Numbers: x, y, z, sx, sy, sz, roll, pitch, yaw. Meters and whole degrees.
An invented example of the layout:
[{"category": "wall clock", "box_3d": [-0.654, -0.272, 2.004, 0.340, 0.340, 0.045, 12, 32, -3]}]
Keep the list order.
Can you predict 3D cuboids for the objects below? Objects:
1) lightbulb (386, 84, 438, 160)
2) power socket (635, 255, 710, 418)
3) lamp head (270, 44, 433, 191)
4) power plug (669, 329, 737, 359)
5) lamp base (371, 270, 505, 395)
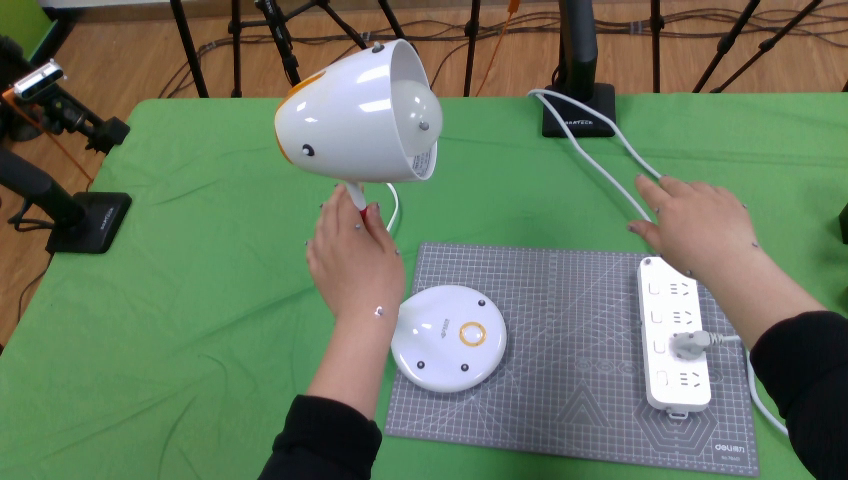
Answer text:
[{"category": "lightbulb", "box_3d": [-0.041, -0.093, 0.490, 0.107, 0.060, 0.059, 0, 56, 20]}, {"category": "power socket", "box_3d": [0.320, 0.117, 0.791, 0.072, 0.033, 0.225, 1, 57, 10]}, {"category": "lamp head", "box_3d": [-0.061, -0.091, 0.505, 0.122, 0.113, 0.111, -11, 54, 21]}, {"category": "power plug", "box_3d": [0.343, 0.134, 0.752, 0.072, 0.053, 0.035, 12, 60, 14]}, {"category": "lamp base", "box_3d": [0.007, 0.093, 0.771, 0.179, 0.182, 0.159, -4, 56, 11]}]
